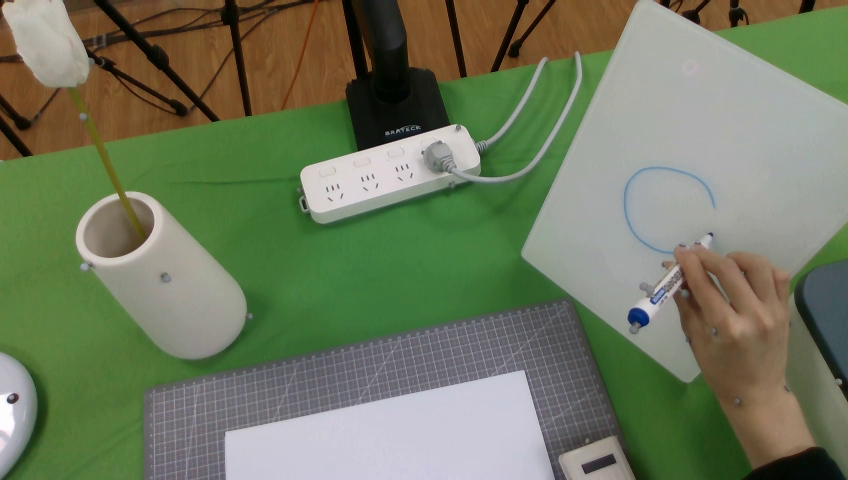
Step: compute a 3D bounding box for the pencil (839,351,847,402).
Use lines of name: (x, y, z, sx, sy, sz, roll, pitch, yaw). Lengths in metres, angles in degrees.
pencil: (0.403, 0.197, 0.560, 0.012, 0.012, 0.192, 6, 64, 6)

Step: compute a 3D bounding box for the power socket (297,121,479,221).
power socket: (-0.041, -0.083, 0.718, 0.227, 0.033, 0.071, -17, 63, -8)

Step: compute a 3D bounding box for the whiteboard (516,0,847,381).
whiteboard: (0.256, -0.053, 0.574, 0.215, 0.307, 0.144, 40, 50, 21)

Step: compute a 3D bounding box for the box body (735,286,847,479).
box body: (0.456, 0.189, 0.482, 0.254, 0.161, 0.360, -13, 62, -5)

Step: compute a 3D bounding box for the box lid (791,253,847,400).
box lid: (0.454, 0.150, 0.417, 0.263, 0.015, 0.368, -12, 63, -6)

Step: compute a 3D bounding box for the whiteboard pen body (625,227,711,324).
whiteboard pen body: (0.195, 0.022, 0.471, 0.017, 0.017, 0.141, 39, 51, 21)

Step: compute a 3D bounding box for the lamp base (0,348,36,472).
lamp base: (-0.476, 0.136, 0.524, 0.178, 0.182, 0.159, 17, 62, 14)

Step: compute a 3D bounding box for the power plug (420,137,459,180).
power plug: (0.017, -0.085, 0.691, 0.035, 0.053, 0.072, -8, 63, -2)

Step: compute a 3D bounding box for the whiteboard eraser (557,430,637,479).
whiteboard eraser: (0.164, 0.230, 0.532, 0.056, 0.042, 0.111, -16, 61, -9)

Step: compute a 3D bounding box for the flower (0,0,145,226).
flower: (-0.238, -0.022, 0.501, 0.038, 0.365, 0.043, -23, 44, -18)

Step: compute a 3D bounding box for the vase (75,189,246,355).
vase: (-0.238, 0.035, 0.563, 0.098, 0.201, 0.097, -1, 61, 3)
